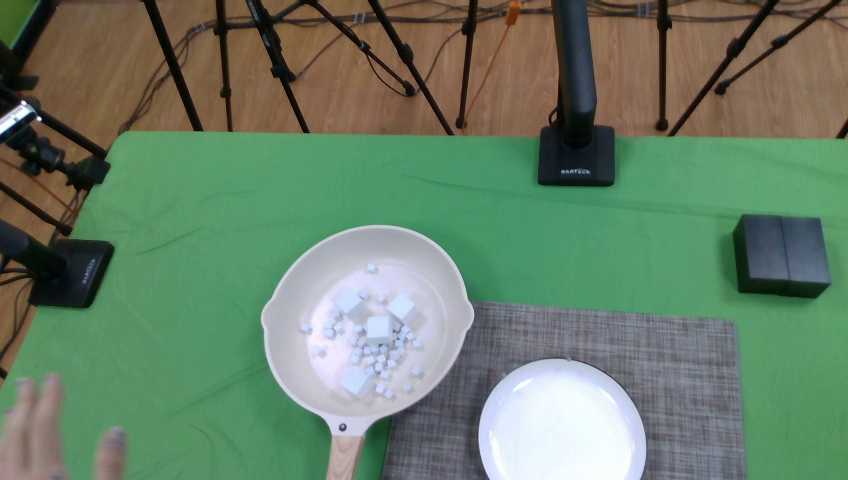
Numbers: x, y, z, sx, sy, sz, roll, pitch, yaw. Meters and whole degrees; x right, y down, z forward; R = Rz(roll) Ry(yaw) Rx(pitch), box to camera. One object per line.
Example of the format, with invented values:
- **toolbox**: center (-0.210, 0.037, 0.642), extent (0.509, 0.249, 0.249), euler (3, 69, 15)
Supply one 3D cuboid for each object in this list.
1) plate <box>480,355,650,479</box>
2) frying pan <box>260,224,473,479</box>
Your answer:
- **plate**: center (0.176, 0.250, 0.771), extent (0.207, 0.039, 0.206), euler (-4, 61, 8)
- **frying pan**: center (-0.092, 0.199, 0.807), extent (0.306, 0.104, 0.483), euler (-1, 53, 12)
